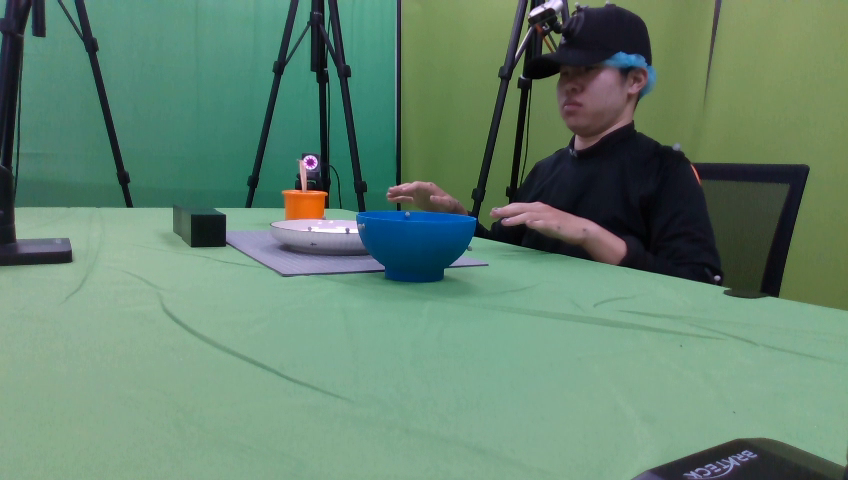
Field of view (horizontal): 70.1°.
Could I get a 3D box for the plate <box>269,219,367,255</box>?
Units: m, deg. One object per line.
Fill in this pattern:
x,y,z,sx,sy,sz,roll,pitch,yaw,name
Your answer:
-0.140,-0.006,0.958,0.209,0.038,0.209,3,7,0,plate

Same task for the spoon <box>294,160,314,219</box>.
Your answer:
-0.253,-0.102,1.270,0.042,0.193,0.021,3,-38,-17,spoon

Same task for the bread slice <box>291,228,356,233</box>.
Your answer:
-0.143,-0.003,0.953,0.135,0.018,0.106,-1,9,-37,bread slice

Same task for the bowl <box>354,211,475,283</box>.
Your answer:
-0.013,0.008,0.749,0.151,0.077,0.151,2,7,0,bowl
